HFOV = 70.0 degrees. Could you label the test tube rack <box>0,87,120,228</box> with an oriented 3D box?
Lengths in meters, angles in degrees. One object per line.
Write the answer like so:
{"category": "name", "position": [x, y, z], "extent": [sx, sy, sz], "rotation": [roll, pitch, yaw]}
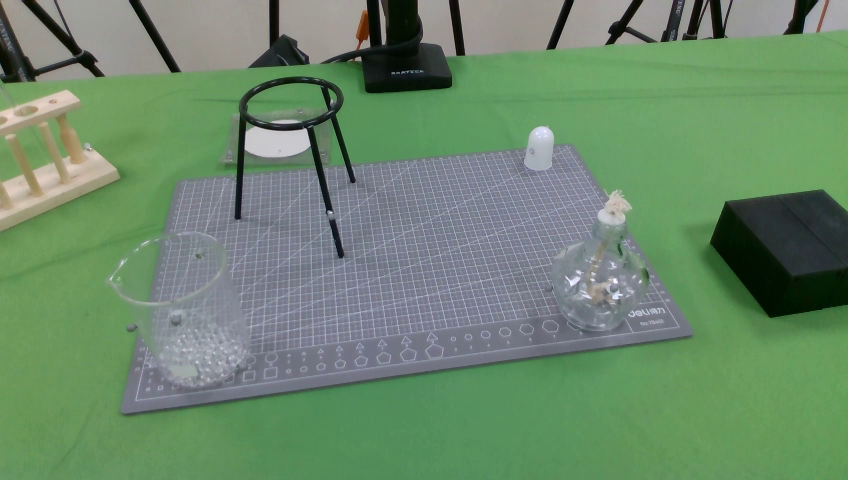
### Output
{"category": "test tube rack", "position": [-0.442, -0.060, 0.590], "extent": [0.066, 0.086, 0.242], "rotation": [33, 51, 31]}

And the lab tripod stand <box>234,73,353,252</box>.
{"category": "lab tripod stand", "position": [-0.119, -0.076, 0.567], "extent": [0.148, 0.133, 0.147], "rotation": [-1, 43, 1]}

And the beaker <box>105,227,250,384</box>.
{"category": "beaker", "position": [-0.176, 0.052, 0.449], "extent": [0.084, 0.101, 0.073], "rotation": [-8, 42, -8]}

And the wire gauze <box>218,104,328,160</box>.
{"category": "wire gauze", "position": [-0.178, -0.128, 0.728], "extent": [0.125, 0.011, 0.120], "rotation": [-4, 40, -3]}

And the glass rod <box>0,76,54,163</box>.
{"category": "glass rod", "position": [-0.413, -0.153, 0.595], "extent": [0.008, 0.202, 0.008], "rotation": [-6, 43, 6]}

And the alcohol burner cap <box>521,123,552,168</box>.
{"category": "alcohol burner cap", "position": [0.126, -0.108, 0.672], "extent": [0.034, 0.048, 0.033], "rotation": [0, 41, 0]}

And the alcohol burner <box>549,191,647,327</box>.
{"category": "alcohol burner", "position": [0.141, 0.012, 0.482], "extent": [0.078, 0.120, 0.077], "rotation": [0, 39, 1]}
